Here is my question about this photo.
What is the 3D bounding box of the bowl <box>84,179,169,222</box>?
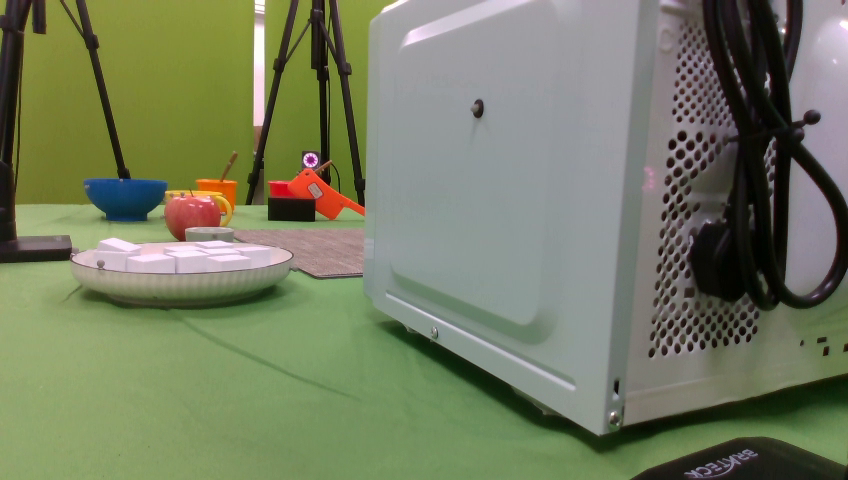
[{"bbox_3d":[-0.584,-0.078,1.194,0.151,0.077,0.151,3,8,0],"label":"bowl"}]

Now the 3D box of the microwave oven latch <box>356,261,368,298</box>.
[{"bbox_3d":[-0.020,0.033,0.530,0.079,0.029,0.030,0,7,-25],"label":"microwave oven latch"}]

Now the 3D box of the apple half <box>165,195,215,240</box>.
[{"bbox_3d":[-0.377,-0.038,0.964,0.082,0.081,0.032,-4,14,-39],"label":"apple half"}]

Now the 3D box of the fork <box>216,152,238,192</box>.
[{"bbox_3d":[-0.455,-0.132,1.367,0.028,0.018,0.207,-2,-35,-37],"label":"fork"}]

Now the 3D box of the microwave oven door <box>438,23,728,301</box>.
[{"bbox_3d":[0.181,-0.072,0.620,0.358,0.243,0.039,-2,8,-29],"label":"microwave oven door"}]

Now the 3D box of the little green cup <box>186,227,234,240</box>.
[{"bbox_3d":[-0.285,0.005,0.805,0.061,0.038,0.061,2,8,0],"label":"little green cup"}]

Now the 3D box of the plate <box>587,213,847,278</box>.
[{"bbox_3d":[0.244,0.002,0.512,0.209,0.038,0.209,2,6,0],"label":"plate"}]

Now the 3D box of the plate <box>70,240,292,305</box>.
[{"bbox_3d":[-0.242,0.031,0.618,0.208,0.039,0.207,2,8,0],"label":"plate"}]

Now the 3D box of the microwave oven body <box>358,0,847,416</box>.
[{"bbox_3d":[0.211,-0.047,0.474,0.444,0.260,0.324,-1,8,-28],"label":"microwave oven body"}]

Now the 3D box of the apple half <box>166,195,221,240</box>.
[{"bbox_3d":[-0.351,-0.031,0.935,0.081,0.074,0.053,1,11,-40],"label":"apple half"}]

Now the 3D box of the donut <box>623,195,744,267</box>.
[{"bbox_3d":[0.220,-0.006,0.518,0.099,0.048,0.099,22,0,0],"label":"donut"}]

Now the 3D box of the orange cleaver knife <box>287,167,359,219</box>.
[{"bbox_3d":[-0.209,-0.089,1.383,0.212,0.077,0.012,31,3,-15],"label":"orange cleaver knife"}]

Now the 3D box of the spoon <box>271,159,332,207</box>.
[{"bbox_3d":[-0.308,-0.142,1.514,0.193,0.021,0.041,-41,5,8],"label":"spoon"}]

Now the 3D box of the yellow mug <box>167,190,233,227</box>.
[{"bbox_3d":[-0.415,-0.057,1.132,0.130,0.064,0.100,6,8,16],"label":"yellow mug"}]
